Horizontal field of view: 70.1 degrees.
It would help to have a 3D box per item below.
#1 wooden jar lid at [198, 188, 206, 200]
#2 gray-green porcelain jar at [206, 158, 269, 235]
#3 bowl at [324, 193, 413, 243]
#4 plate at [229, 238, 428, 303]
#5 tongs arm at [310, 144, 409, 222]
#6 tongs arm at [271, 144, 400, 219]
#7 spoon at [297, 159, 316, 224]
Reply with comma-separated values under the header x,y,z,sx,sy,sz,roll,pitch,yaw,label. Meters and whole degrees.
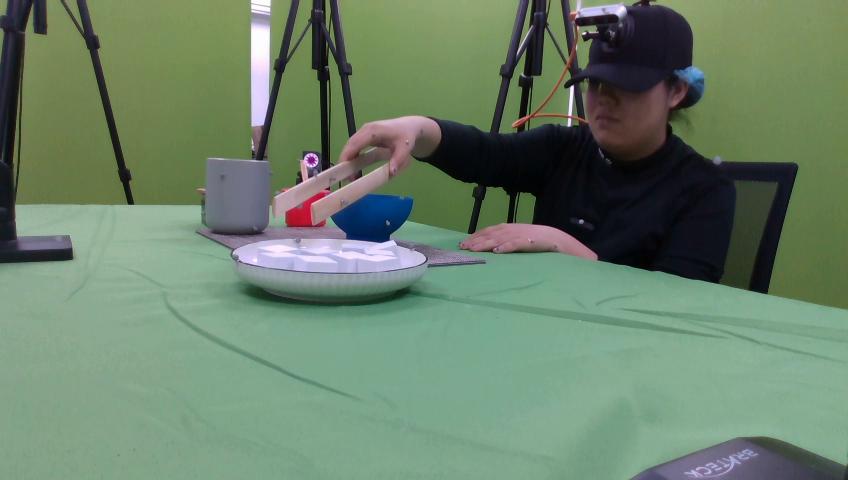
x,y,z,sx,sy,sz,roll,pitch,yaw,label
-0.382,-0.088,1.175,0.108,0.020,0.108,3,8,0,wooden jar lid
-0.323,-0.076,1.048,0.106,0.126,0.106,3,7,0,gray-green porcelain jar
-0.094,-0.037,1.015,0.151,0.077,0.151,3,7,0,bowl
-0.100,0.032,0.651,0.209,0.038,0.209,3,8,0,plate
-0.076,-0.089,0.834,0.028,0.028,0.388,1,18,15,tongs arm
-0.105,-0.092,0.842,0.050,0.026,0.385,3,18,11,tongs arm
-0.244,-0.103,1.251,0.042,0.021,0.193,1,51,-17,spoon
